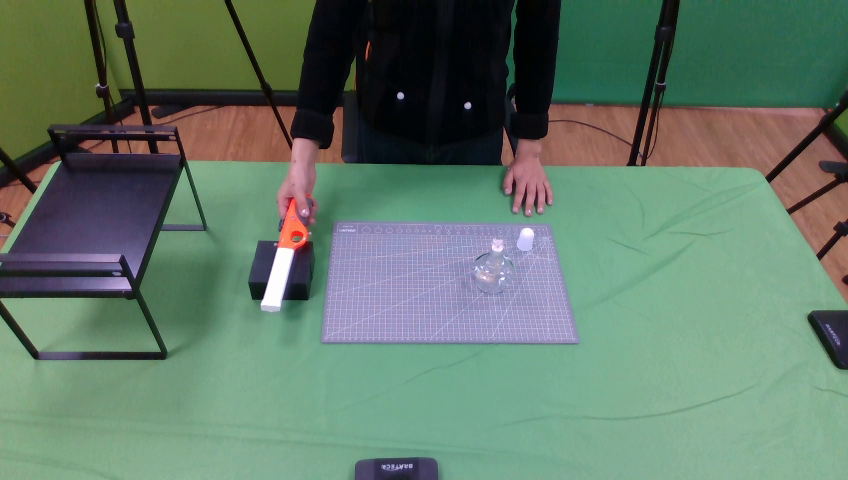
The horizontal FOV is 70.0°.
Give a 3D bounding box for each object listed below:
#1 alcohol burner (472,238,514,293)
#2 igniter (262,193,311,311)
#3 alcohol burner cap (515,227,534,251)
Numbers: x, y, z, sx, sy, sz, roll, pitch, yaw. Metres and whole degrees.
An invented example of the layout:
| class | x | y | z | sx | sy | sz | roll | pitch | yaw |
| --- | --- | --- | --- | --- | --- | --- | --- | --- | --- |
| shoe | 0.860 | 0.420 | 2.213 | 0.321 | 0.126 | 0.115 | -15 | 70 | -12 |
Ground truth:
| class | x | y | z | sx | sy | sz | roll | pitch | yaw |
| --- | --- | --- | --- | --- | --- | --- | --- | --- | --- |
| alcohol burner | 0.128 | 0.041 | 1.101 | 0.078 | 0.120 | 0.077 | 1 | 47 | -1 |
| igniter | -0.248 | 0.012 | 1.099 | 0.057 | 0.025 | 0.275 | 7 | 48 | -4 |
| alcohol burner cap | 0.202 | -0.005 | 1.202 | 0.034 | 0.048 | 0.033 | 3 | 46 | -3 |
